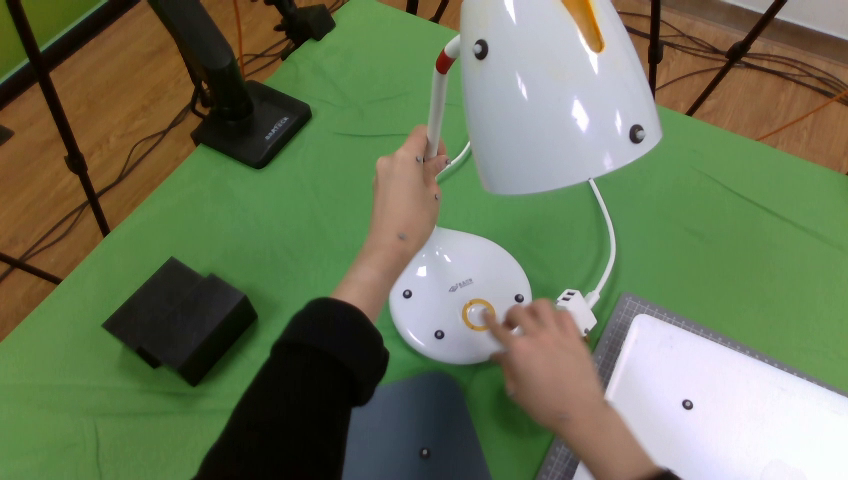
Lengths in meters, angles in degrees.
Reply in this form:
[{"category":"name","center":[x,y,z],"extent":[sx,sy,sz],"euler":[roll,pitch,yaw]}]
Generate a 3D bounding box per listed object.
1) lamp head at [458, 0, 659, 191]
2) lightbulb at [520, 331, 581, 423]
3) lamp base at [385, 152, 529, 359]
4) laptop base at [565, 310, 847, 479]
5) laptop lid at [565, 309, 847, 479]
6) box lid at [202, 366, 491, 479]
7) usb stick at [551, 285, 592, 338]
[{"category":"lamp head","center":[0.066,-0.104,0.356],"extent":[0.112,0.123,0.112],"euler":[-21,15,7]},{"category":"lightbulb","center":[0.131,0.134,0.614],"extent":[0.059,0.060,0.107],"euler":[13,43,9]},{"category":"lamp base","center":[0.027,0.008,0.615],"extent":[0.160,0.182,0.177],"euler":[-34,60,-19]},{"category":"laptop base","center":[0.327,0.231,0.568],"extent":[0.353,0.023,0.234],"euler":[23,64,14]},{"category":"laptop lid","center":[0.325,0.226,0.557],"extent":[0.355,0.013,0.240],"euler":[25,64,15]},{"category":"box lid","center":[-0.045,0.306,0.530],"extent":[0.263,0.015,0.367],"euler":[-15,60,-8]},{"category":"usb stick","center":[0.160,0.078,0.648],"extent":[0.027,0.059,0.021],"euler":[-40,23,-26]}]
